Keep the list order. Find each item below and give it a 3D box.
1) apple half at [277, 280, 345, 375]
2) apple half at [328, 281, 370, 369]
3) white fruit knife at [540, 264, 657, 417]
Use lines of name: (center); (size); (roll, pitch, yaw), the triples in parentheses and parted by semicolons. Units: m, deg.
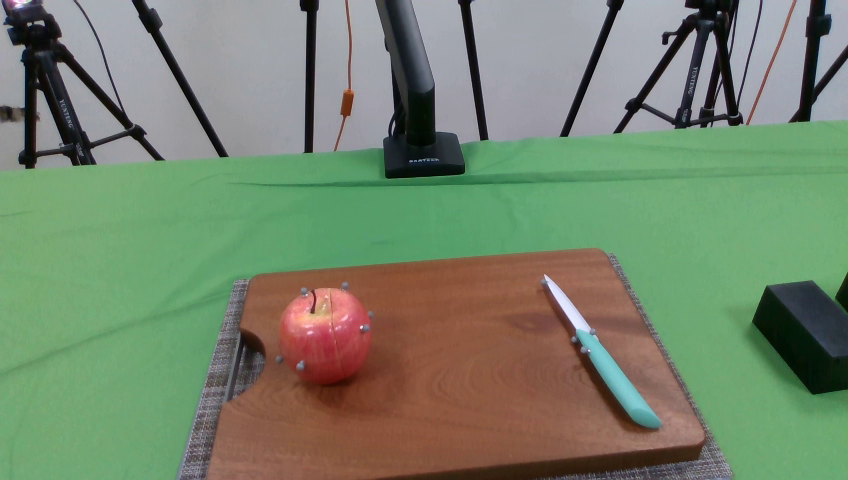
apple half: (-0.102, 0.081, 0.538); (0.053, 0.075, 0.080); (-12, 42, -5)
apple half: (-0.064, 0.075, 0.543); (0.033, 0.082, 0.080); (-12, 38, -6)
white fruit knife: (0.154, 0.084, 0.574); (0.027, 0.016, 0.205); (16, 27, -27)
